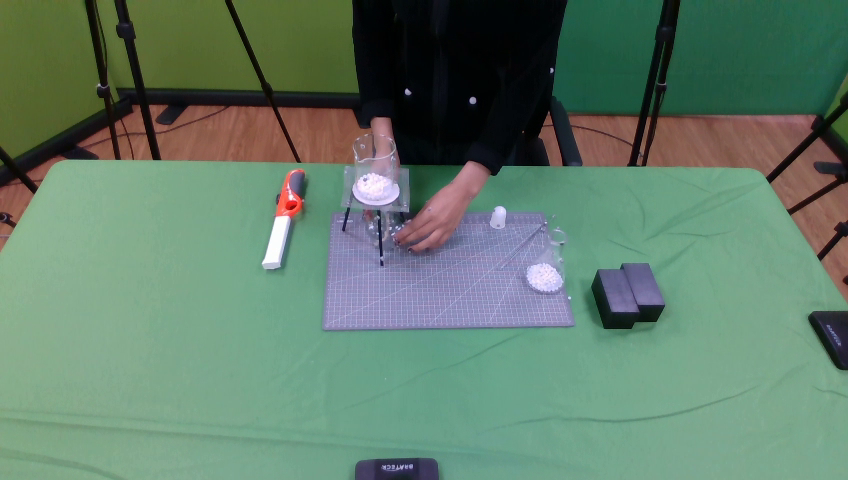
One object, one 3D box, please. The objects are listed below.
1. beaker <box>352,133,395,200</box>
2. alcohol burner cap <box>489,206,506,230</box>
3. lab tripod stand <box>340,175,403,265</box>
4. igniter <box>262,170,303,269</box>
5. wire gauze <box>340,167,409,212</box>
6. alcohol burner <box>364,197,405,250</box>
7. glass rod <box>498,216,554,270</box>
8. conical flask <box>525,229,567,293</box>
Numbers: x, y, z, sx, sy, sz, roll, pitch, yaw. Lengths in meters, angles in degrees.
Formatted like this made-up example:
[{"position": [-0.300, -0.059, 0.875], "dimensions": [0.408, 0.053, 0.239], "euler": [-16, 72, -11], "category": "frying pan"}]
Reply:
[{"position": [-0.091, -0.126, 1.074], "dimensions": [0.074, 0.101, 0.084], "euler": [26, 49, 21], "category": "beaker"}, {"position": [0.152, -0.047, 1.241], "dimensions": [0.034, 0.048, 0.033], "euler": [1, 45, -1], "category": "alcohol burner cap"}, {"position": [-0.093, -0.050, 1.160], "dimensions": [0.148, 0.132, 0.147], "euler": [2, 44, -2], "category": "lab tripod stand"}, {"position": [-0.283, -0.050, 1.222], "dimensions": [0.057, 0.025, 0.275], "euler": [-5, 45, 6], "category": "igniter"}, {"position": [-0.091, -0.095, 1.111], "dimensions": [0.125, 0.011, 0.120], "euler": [1, 43, -2], "category": "wire gauze"}, {"position": [-0.075, -0.038, 1.163], "dimensions": [0.078, 0.119, 0.077], "euler": [4, 45, -4], "category": "alcohol burner"}, {"position": [0.208, 0.003, 1.219], "dimensions": [0.008, 0.008, 0.199], "euler": [32, 52, 25], "category": "glass rod"}, {"position": [0.232, 0.036, 1.110], "dimensions": [0.075, 0.122, 0.075], "euler": [2, 46, -2], "category": "conical flask"}]
